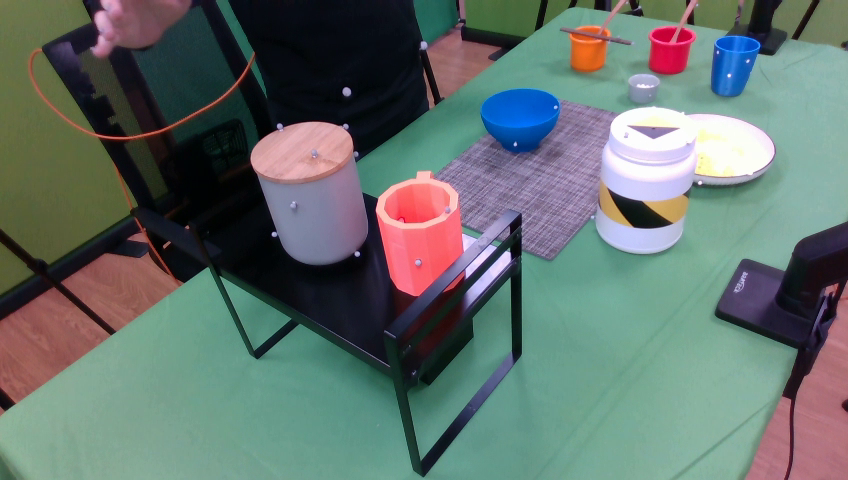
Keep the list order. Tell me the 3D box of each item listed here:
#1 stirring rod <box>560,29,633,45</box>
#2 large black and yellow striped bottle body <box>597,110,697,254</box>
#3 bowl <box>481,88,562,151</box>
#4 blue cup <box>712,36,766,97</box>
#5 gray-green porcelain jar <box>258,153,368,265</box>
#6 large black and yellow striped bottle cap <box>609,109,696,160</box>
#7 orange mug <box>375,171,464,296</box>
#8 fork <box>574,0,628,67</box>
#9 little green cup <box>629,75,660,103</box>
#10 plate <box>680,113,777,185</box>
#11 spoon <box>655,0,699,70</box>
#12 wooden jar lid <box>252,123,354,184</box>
[{"bbox_3d":[0.381,-0.452,1.345,0.174,0.006,0.014,25,49,33],"label":"stirring rod"},{"bbox_3d":[0.331,-0.086,0.904,0.131,0.185,0.130,-5,41,4],"label":"large black and yellow striped bottle body"},{"bbox_3d":[0.187,-0.223,1.162,0.151,0.077,0.150,-4,40,4],"label":"bowl"},{"bbox_3d":[0.627,-0.350,1.227,0.092,0.100,0.092,-4,39,4],"label":"blue cup"},{"bbox_3d":[-0.122,-0.043,0.691,0.106,0.127,0.105,-4,40,4],"label":"gray-green porcelain jar"},{"bbox_3d":[0.319,-0.150,0.849,0.115,0.019,0.114,-4,39,3],"label":"large black and yellow striped bottle cap"},{"bbox_3d":[-0.001,-0.016,0.662,0.083,0.101,0.125,-2,45,8],"label":"orange mug"},{"bbox_3d":[0.413,-0.481,1.377,0.207,0.019,0.028,-56,43,12],"label":"fork"},{"bbox_3d":[0.458,-0.314,1.260,0.061,0.039,0.061,-4,40,4],"label":"little green cup"},{"bbox_3d":[0.506,-0.158,1.073,0.209,0.038,0.208,-5,40,4],"label":"plate"},{"bbox_3d":[0.567,-0.463,1.337,0.041,0.022,0.193,30,97,38],"label":"spoon"},{"bbox_3d":[-0.129,-0.090,0.652,0.108,0.021,0.108,-3,41,3],"label":"wooden jar lid"}]
